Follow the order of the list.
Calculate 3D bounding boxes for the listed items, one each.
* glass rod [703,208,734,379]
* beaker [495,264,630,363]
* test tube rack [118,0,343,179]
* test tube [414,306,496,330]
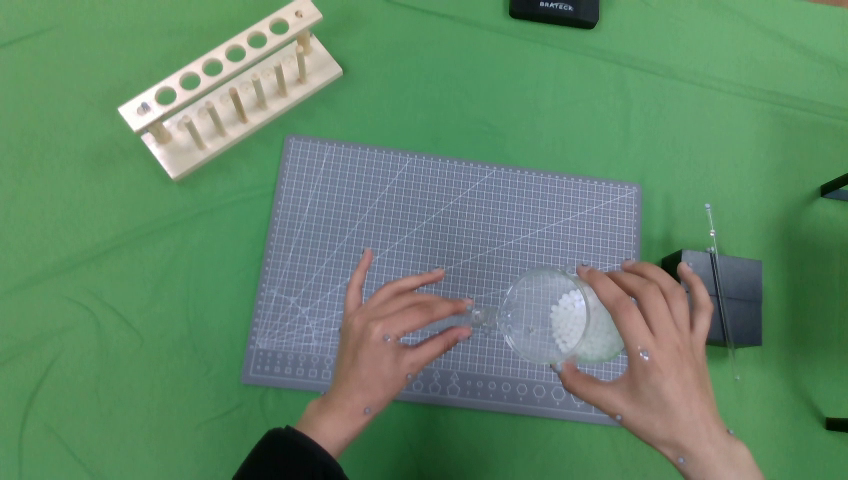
[{"bbox_3d":[0.339,0.059,0.699,0.008,0.008,0.198,-1,77,-6],"label":"glass rod"},{"bbox_3d":[0.116,0.064,0.493,0.083,0.101,0.073,-8,74,37],"label":"beaker"},{"bbox_3d":[-0.213,-0.177,0.700,0.242,0.085,0.066,-37,82,-13],"label":"test tube rack"},{"bbox_3d":[0.024,0.073,0.557,0.017,0.150,0.017,4,79,-23],"label":"test tube"}]
